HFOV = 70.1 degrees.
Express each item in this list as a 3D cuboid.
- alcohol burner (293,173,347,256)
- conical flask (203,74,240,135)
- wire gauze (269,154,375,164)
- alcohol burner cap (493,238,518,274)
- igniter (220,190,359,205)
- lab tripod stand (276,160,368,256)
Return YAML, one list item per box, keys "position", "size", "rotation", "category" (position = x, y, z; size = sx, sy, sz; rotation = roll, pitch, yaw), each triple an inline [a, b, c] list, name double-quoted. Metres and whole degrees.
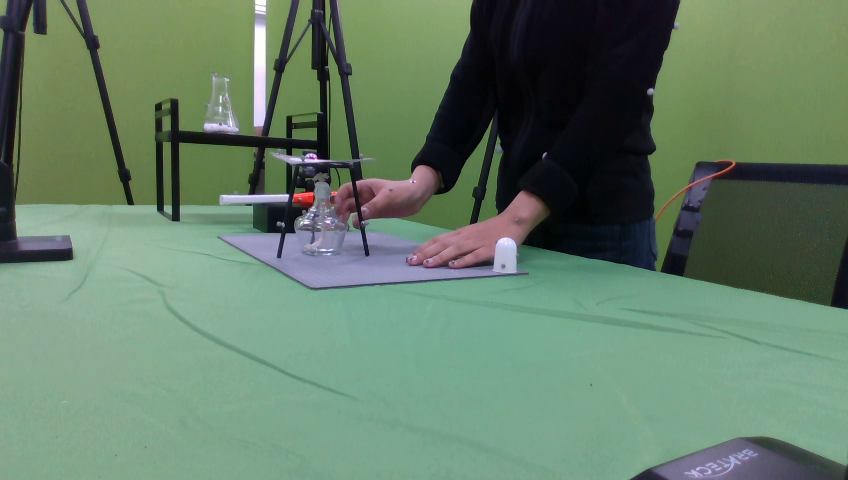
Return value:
- position: [-0.148, -0.037, 0.868]
  size: [0.078, 0.119, 0.078]
  rotation: [4, 8, 0]
  category: "alcohol burner"
- position: [-0.425, -0.284, 1.271]
  size: [0.075, 0.122, 0.075]
  rotation: [3, 7, 0]
  category: "conical flask"
- position: [-0.146, -0.114, 0.860]
  size: [0.122, 0.011, 0.124]
  rotation: [-2, 9, -29]
  category: "wire gauze"
- position: [0.107, 0.021, 0.785]
  size: [0.034, 0.048, 0.034]
  rotation: [1, 7, 0]
  category: "alcohol burner cap"
- position: [-0.246, -0.081, 1.158]
  size: [0.278, 0.025, 0.057]
  rotation: [-5, 7, -32]
  category: "igniter"
- position: [-0.149, -0.046, 0.861]
  size: [0.148, 0.131, 0.148]
  rotation: [3, 9, 0]
  category: "lab tripod stand"
